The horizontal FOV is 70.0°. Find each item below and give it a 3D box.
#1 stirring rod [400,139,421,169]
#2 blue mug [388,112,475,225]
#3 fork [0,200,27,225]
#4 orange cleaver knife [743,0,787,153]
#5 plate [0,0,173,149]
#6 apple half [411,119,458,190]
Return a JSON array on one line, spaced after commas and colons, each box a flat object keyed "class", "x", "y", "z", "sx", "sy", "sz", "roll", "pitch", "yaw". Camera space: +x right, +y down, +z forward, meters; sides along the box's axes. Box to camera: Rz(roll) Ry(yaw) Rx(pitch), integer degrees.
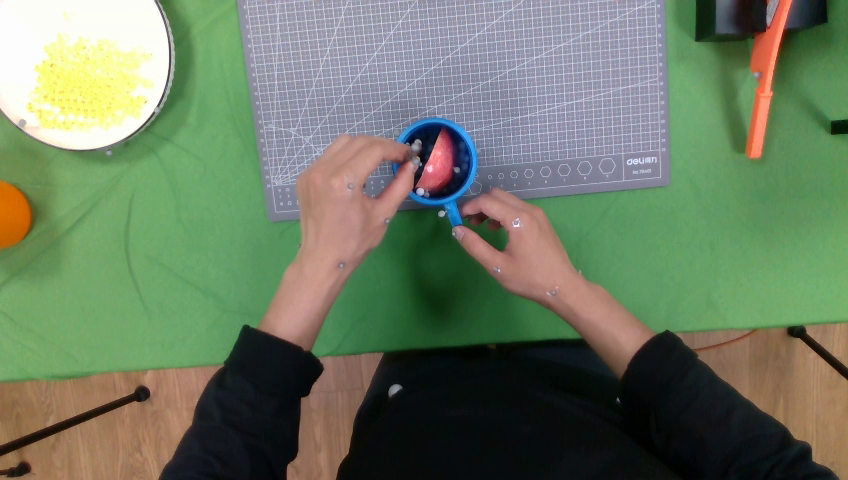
[{"class": "stirring rod", "x": -0.014, "y": -0.078, "z": 0.566, "sx": 0.014, "sy": 0.176, "sz": 0.006, "roll": -40, "pitch": 94, "yaw": -1}, {"class": "blue mug", "x": 0.014, "y": -0.070, "z": 0.622, "sx": 0.082, "sy": 0.105, "sz": 0.117, "roll": -20, "pitch": 98, "yaw": 4}, {"class": "fork", "x": -0.528, "y": -0.035, "z": 0.616, "sx": 0.209, "sy": 0.018, "sz": 0.028, "roll": 5, "pitch": 100, "yaw": -44}, {"class": "orange cleaver knife", "x": 0.341, "y": -0.193, "z": 0.611, "sx": 0.012, "sy": 0.076, "sz": 0.213, "roll": -2, "pitch": 126, "yaw": 10}, {"class": "plate", "x": -0.366, "y": -0.202, "z": 0.642, "sx": 0.209, "sy": 0.038, "sz": 0.209, "roll": 0, "pitch": 100, "yaw": 1}, {"class": "apple half", "x": 0.018, "y": -0.082, "z": 0.611, "sx": 0.032, "sy": 0.081, "sz": 0.081, "roll": 24, "pitch": 99, "yaw": 7}]
